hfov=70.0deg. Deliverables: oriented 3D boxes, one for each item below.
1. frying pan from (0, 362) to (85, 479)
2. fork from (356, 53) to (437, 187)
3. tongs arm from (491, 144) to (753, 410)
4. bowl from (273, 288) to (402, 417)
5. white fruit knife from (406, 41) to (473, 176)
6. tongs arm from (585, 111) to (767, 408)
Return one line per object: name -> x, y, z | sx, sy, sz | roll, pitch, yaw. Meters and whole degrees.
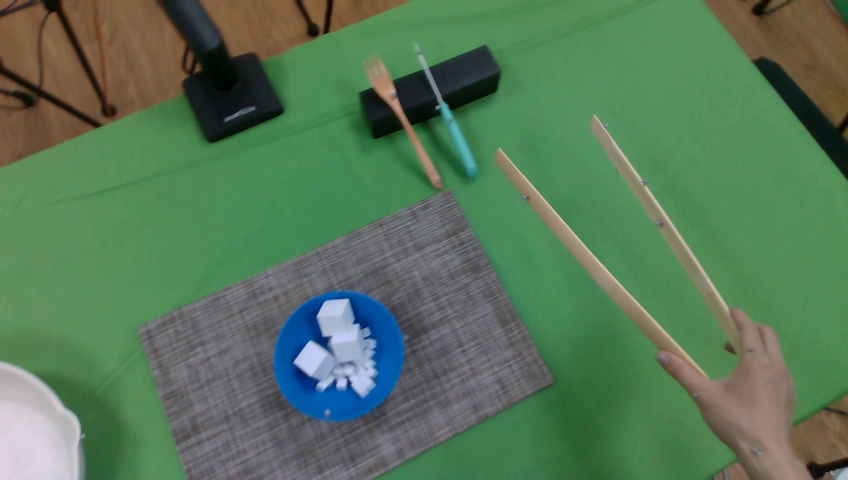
frying pan -> -0.473, 0.362, 0.637 | 0.307, 0.103, 0.483 | -27, 65, -10
fork -> -0.035, -0.164, 0.843 | 0.028, 0.018, 0.207 | -32, 94, -15
tongs arm -> 0.196, 0.029, 0.662 | 0.028, 0.028, 0.384 | -27, 65, -26
bowl -> -0.100, 0.140, 0.733 | 0.151, 0.077, 0.150 | 0, 70, -1
white fruit knife -> 0.019, -0.186, 0.851 | 0.016, 0.027, 0.207 | -27, 90, -4
tongs arm -> 0.264, 0.002, 0.685 | 0.051, 0.027, 0.381 | -17, 62, -17
